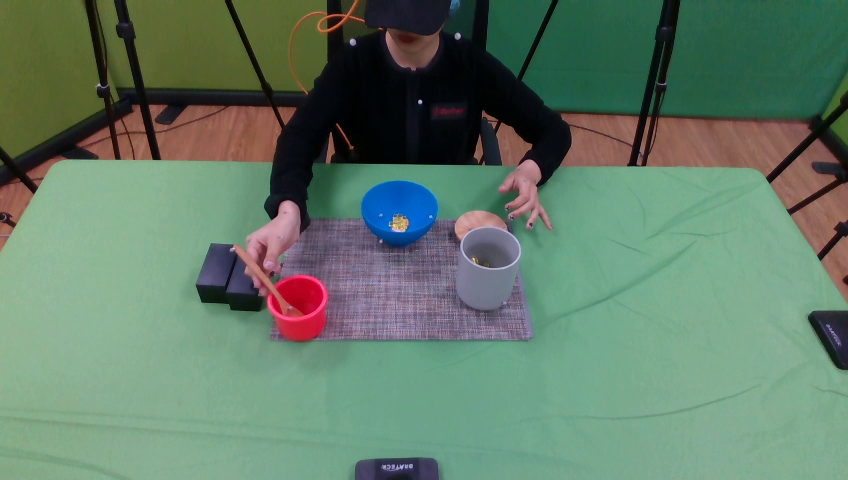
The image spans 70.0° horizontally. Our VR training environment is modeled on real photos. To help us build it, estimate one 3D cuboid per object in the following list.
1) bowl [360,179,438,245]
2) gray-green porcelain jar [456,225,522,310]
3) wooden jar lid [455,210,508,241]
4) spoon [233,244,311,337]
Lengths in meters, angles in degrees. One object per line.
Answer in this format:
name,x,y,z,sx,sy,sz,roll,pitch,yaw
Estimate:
bowl,-0.049,-0.042,1.190,0.151,0.077,0.150,2,46,-2
gray-green porcelain jar,0.111,0.054,1.077,0.106,0.127,0.105,2,46,-2
wooden jar lid,0.115,-0.018,1.220,0.108,0.021,0.107,3,47,-3
spoon,-0.251,0.083,1.003,0.021,0.194,0.041,-11,28,48
